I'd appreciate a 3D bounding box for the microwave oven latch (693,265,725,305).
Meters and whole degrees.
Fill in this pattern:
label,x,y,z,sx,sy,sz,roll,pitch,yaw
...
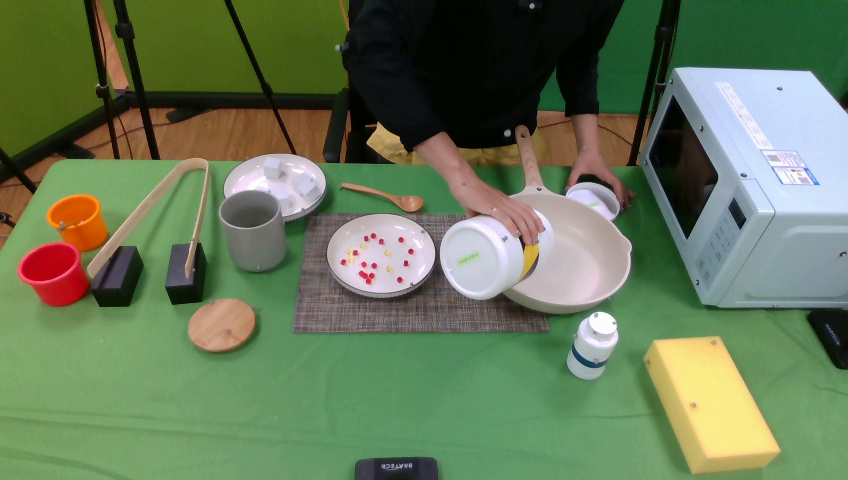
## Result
label,x,y,z,sx,sy,sz,roll,pitch,yaw
microwave oven latch,0.523,0.082,1.116,0.030,0.029,0.078,2,46,-1

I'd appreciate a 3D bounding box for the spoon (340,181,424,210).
label,x,y,z,sx,sy,sz,roll,pitch,yaw
spoon,-0.090,-0.100,1.282,0.193,0.022,0.041,18,65,12

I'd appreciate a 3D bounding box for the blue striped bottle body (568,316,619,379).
label,x,y,z,sx,sy,sz,roll,pitch,yaw
blue striped bottle body,0.277,0.169,0.984,0.063,0.121,0.062,2,46,-2

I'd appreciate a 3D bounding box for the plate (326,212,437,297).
label,x,y,z,sx,sy,sz,roll,pitch,yaw
plate,-0.080,0.030,1.143,0.209,0.038,0.208,2,46,-2

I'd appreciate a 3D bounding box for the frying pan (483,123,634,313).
label,x,y,z,sx,sy,sz,roll,pitch,yaw
frying pan,0.235,-0.060,1.207,0.307,0.103,0.484,2,55,-6

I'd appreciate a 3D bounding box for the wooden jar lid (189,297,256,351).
label,x,y,z,sx,sy,sz,roll,pitch,yaw
wooden jar lid,-0.342,0.145,1.033,0.108,0.021,0.107,2,45,-2

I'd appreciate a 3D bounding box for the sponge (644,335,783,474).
label,x,y,z,sx,sy,sz,roll,pitch,yaw
sponge,0.448,0.253,0.956,0.118,0.061,0.205,-3,47,-7

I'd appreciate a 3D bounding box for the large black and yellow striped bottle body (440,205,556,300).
label,x,y,z,sx,sy,sz,roll,pitch,yaw
large black and yellow striped bottle body,0.129,0.013,1.008,0.130,0.131,0.184,36,33,27

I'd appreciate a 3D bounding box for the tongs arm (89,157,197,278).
label,x,y,z,sx,sy,sz,roll,pitch,yaw
tongs arm,-0.530,-0.058,1.163,0.028,0.028,0.385,1,36,7

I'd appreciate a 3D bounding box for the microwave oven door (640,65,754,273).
label,x,y,z,sx,sy,sz,roll,pitch,yaw
microwave oven door,0.523,-0.147,1.193,0.039,0.245,0.353,0,47,-3

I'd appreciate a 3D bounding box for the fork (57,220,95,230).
label,x,y,z,sx,sy,sz,roll,pitch,yaw
fork,-0.624,-0.027,1.087,0.028,0.207,0.018,-3,92,-17

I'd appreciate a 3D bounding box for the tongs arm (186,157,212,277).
label,x,y,z,sx,sy,sz,roll,pitch,yaw
tongs arm,-0.445,-0.058,1.168,0.051,0.026,0.382,-5,37,-6

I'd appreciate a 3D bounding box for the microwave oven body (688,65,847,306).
label,x,y,z,sx,sy,sz,roll,pitch,yaw
microwave oven body,0.669,-0.111,1.176,0.326,0.261,0.439,0,46,-3

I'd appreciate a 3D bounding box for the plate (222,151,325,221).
label,x,y,z,sx,sy,sz,roll,pitch,yaw
plate,-0.310,-0.106,1.262,0.208,0.039,0.206,2,47,-2

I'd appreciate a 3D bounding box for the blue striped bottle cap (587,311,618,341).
label,x,y,z,sx,sy,sz,roll,pitch,yaw
blue striped bottle cap,0.279,0.134,0.947,0.044,0.021,0.044,2,45,-2

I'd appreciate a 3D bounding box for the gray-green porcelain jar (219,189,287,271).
label,x,y,z,sx,sy,sz,roll,pitch,yaw
gray-green porcelain jar,-0.310,-0.014,1.113,0.106,0.127,0.105,2,46,-2
